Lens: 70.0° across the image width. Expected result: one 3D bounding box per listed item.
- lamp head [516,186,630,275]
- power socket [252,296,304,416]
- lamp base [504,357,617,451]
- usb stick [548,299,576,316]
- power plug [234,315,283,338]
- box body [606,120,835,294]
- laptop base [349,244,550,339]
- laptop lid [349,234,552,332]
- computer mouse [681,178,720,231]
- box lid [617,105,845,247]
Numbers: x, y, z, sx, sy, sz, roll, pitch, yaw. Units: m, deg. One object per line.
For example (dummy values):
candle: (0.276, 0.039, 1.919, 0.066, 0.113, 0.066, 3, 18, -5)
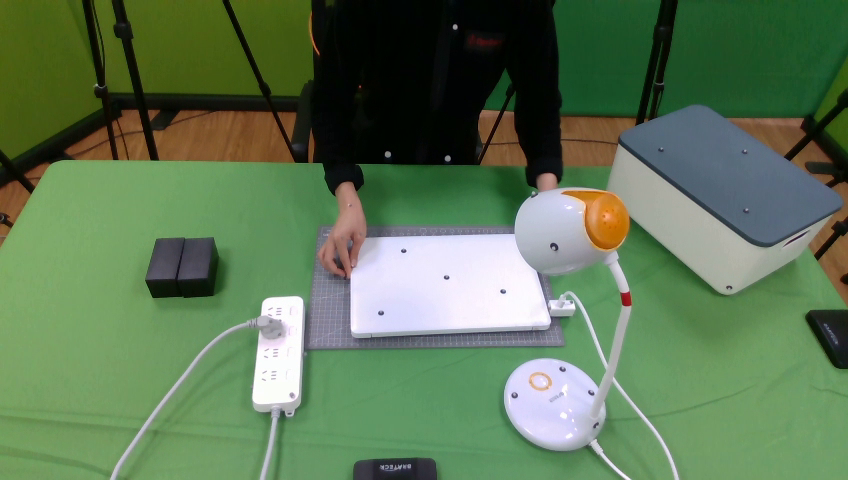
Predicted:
lamp head: (0.188, -0.013, 0.728, 0.112, 0.112, 0.122, -25, 9, -25)
power socket: (-0.238, 0.181, 0.997, 0.072, 0.033, 0.225, -3, 47, -5)
lamp base: (0.220, 0.211, 0.903, 0.160, 0.181, 0.178, -33, 59, -30)
usb stick: (0.239, 0.121, 1.084, 0.059, 0.027, 0.021, -1, 52, -1)
power plug: (-0.269, 0.143, 1.000, 0.072, 0.053, 0.035, 4, 47, 3)
box body: (0.582, -0.088, 1.230, 0.254, 0.161, 0.361, -22, 52, -23)
laptop base: (0.039, 0.081, 1.125, 0.355, 0.023, 0.234, -2, 43, -6)
laptop lid: (0.040, 0.071, 1.118, 0.357, 0.013, 0.240, 0, 44, -5)
computer mouse: (0.596, -0.078, 1.290, 0.117, 0.041, 0.062, 56, 45, -7)
box lid: (0.586, -0.138, 1.176, 0.263, 0.015, 0.369, -22, 51, -23)
